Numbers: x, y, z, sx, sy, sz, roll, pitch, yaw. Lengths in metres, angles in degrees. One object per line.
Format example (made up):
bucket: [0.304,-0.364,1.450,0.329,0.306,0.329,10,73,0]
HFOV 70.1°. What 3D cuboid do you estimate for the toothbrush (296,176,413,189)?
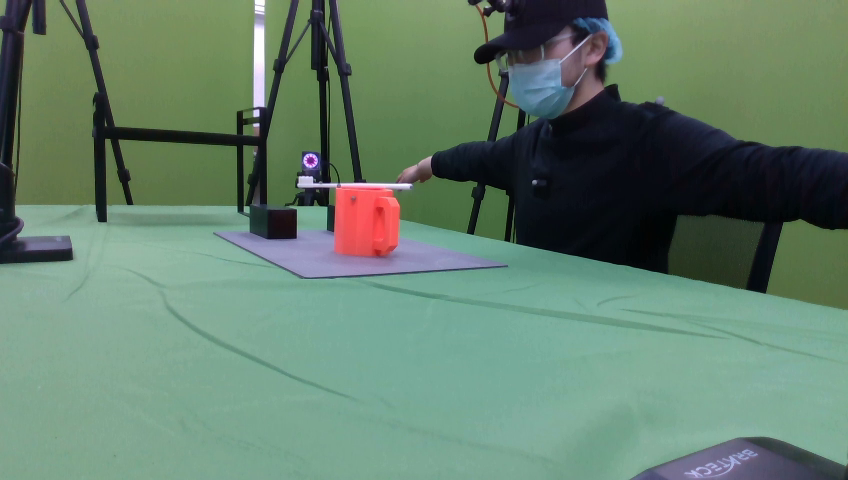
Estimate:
toothbrush: [-0.101,-0.085,0.911,0.183,0.016,0.014,-1,6,-25]

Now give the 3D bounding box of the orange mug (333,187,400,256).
orange mug: [-0.080,-0.029,0.888,0.084,0.100,0.125,-3,5,-40]
